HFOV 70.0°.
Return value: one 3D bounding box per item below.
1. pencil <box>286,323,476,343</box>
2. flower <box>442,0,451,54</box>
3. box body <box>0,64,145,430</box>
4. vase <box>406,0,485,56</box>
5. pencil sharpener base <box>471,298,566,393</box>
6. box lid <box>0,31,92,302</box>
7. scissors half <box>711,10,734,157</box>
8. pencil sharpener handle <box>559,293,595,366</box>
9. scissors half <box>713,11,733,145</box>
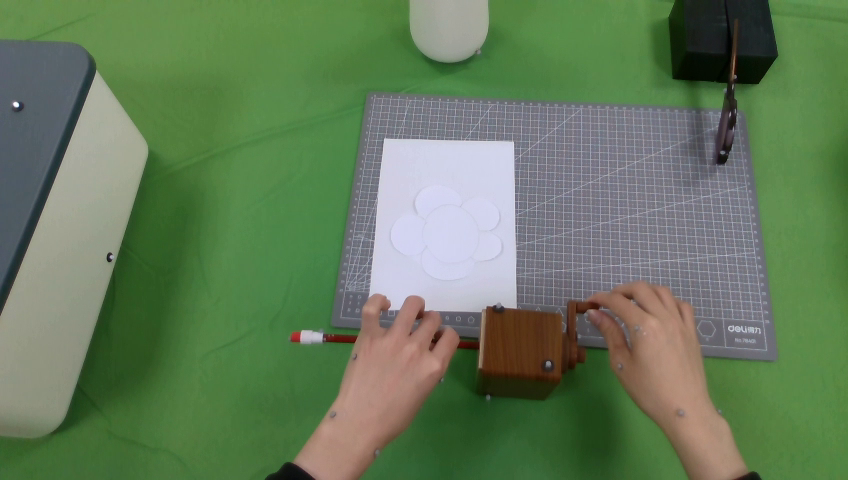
[{"bbox_3d":[-0.025,0.084,0.538,0.194,0.012,0.012,3,67,0],"label":"pencil"},{"bbox_3d":[0.013,-0.350,0.612,0.044,0.365,0.038,-3,49,5],"label":"flower"},{"bbox_3d":[-0.460,-0.007,0.595,0.254,0.161,0.361,4,67,4],"label":"box body"},{"bbox_3d":[0.022,-0.305,0.683,0.098,0.201,0.097,-1,66,3],"label":"vase"},{"bbox_3d":[0.085,0.101,0.560,0.076,0.108,0.061,5,66,4],"label":"pencil sharpener base"},{"bbox_3d":[-0.463,-0.039,0.526,0.263,0.015,0.369,4,67,3],"label":"box lid"},{"bbox_3d":[0.340,-0.177,0.684,0.012,0.040,0.175,8,85,20],"label":"scissors half"},{"bbox_3d":[0.136,0.079,0.538,0.030,0.036,0.067,5,65,4],"label":"pencil sharpener handle"},{"bbox_3d":[0.334,-0.183,0.665,0.013,0.040,0.174,9,68,15],"label":"scissors half"}]
